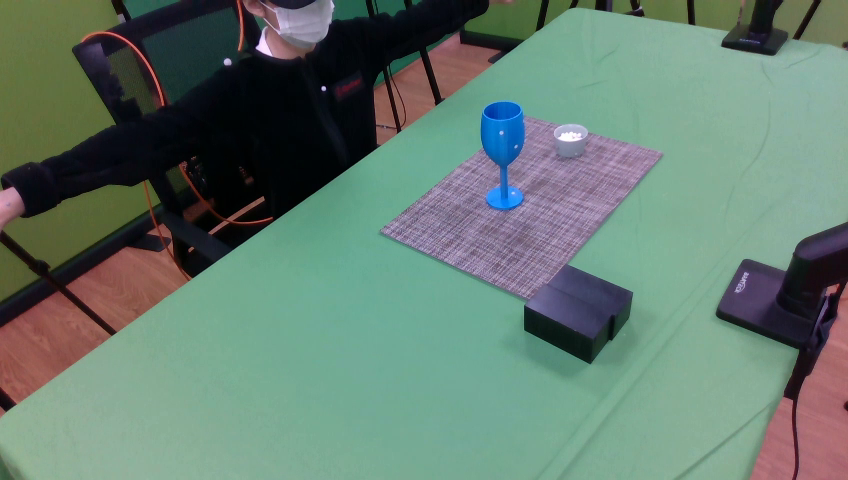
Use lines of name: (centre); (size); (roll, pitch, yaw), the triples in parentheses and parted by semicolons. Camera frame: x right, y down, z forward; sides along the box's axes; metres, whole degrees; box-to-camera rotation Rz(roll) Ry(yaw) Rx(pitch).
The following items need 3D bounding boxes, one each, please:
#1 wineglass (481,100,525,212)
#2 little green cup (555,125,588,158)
wineglass: (0.131, -0.136, 0.992); (0.074, 0.173, 0.073); (-5, 40, 4)
little green cup: (0.274, -0.184, 1.130); (0.061, 0.039, 0.061); (-4, 41, 4)
